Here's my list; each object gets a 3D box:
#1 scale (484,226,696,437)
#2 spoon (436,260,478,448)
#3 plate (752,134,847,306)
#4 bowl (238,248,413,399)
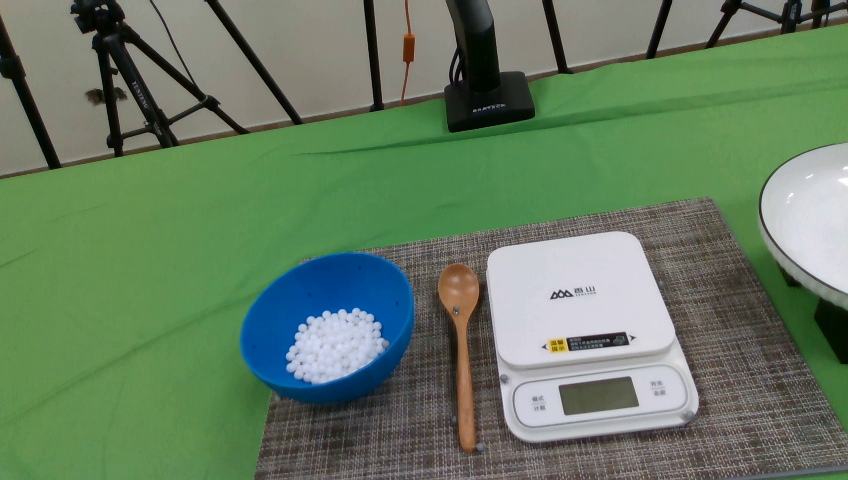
[{"bbox_3d":[0.133,0.070,0.528,0.148,0.032,0.199,-9,42,7],"label":"scale"},{"bbox_3d":[0.032,0.092,0.540,0.041,0.022,0.192,3,42,-3],"label":"spoon"},{"bbox_3d":[0.370,-0.011,0.474,0.209,0.038,0.207,-8,42,8],"label":"plate"},{"bbox_3d":[-0.077,0.085,0.535,0.151,0.077,0.150,-8,42,7],"label":"bowl"}]
